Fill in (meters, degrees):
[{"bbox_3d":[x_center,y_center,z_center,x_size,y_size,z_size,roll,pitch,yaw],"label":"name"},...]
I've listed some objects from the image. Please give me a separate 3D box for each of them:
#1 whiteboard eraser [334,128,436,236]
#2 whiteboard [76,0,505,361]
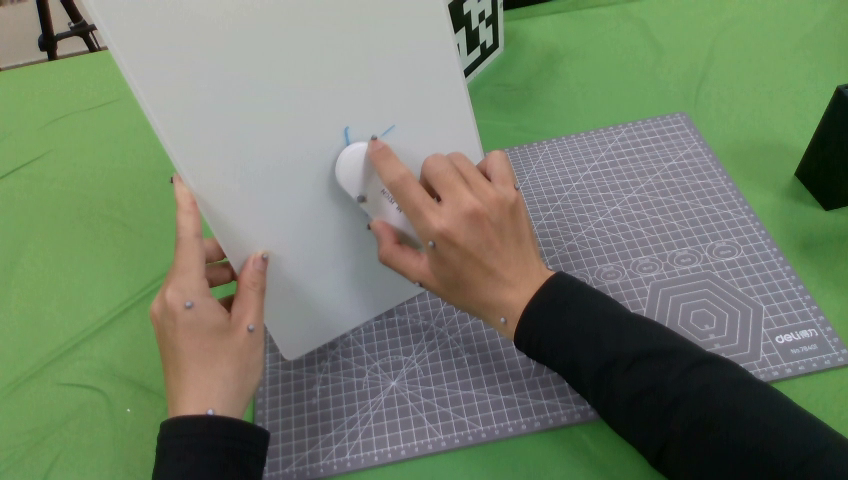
[{"bbox_3d":[-0.028,-0.042,0.458,0.041,0.102,0.018,-45,35,-3],"label":"whiteboard eraser"},{"bbox_3d":[-0.089,-0.098,0.493,0.217,0.308,0.142,-27,34,-12],"label":"whiteboard"}]
